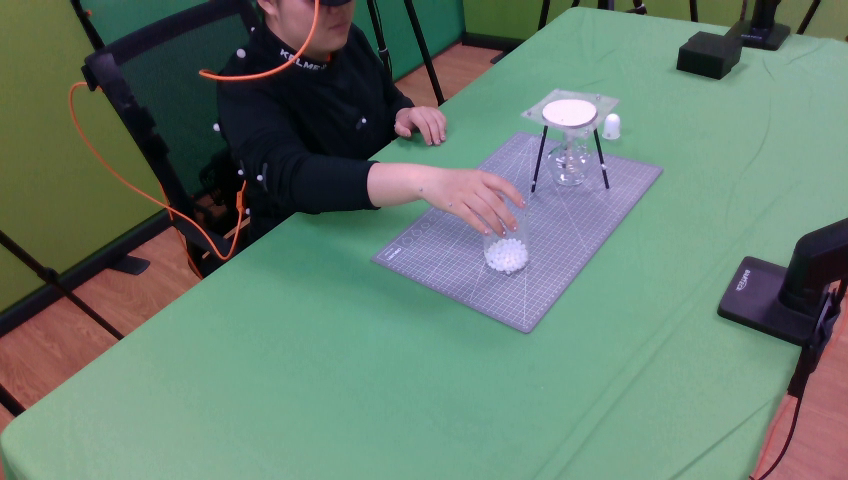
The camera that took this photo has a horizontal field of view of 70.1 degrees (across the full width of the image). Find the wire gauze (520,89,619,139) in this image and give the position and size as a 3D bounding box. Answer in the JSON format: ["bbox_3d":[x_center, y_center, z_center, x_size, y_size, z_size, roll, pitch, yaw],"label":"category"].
[{"bbox_3d":[0.239,-0.213,0.994,0.124,0.011,0.122,24,49,32],"label":"wire gauze"}]

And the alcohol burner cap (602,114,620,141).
[{"bbox_3d":[0.359,-0.217,1.157,0.034,0.048,0.033,-6,39,6],"label":"alcohol burner cap"}]

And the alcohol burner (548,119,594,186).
[{"bbox_3d":[0.252,-0.154,1.042,0.078,0.120,0.077,-7,40,6],"label":"alcohol burner"}]

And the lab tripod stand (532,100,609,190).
[{"bbox_3d":[0.251,-0.161,1.034,0.148,0.132,0.147,-4,39,4],"label":"lab tripod stand"}]

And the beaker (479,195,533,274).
[{"bbox_3d":[0.121,-0.007,0.903,0.074,0.101,0.083,-31,44,-24],"label":"beaker"}]
